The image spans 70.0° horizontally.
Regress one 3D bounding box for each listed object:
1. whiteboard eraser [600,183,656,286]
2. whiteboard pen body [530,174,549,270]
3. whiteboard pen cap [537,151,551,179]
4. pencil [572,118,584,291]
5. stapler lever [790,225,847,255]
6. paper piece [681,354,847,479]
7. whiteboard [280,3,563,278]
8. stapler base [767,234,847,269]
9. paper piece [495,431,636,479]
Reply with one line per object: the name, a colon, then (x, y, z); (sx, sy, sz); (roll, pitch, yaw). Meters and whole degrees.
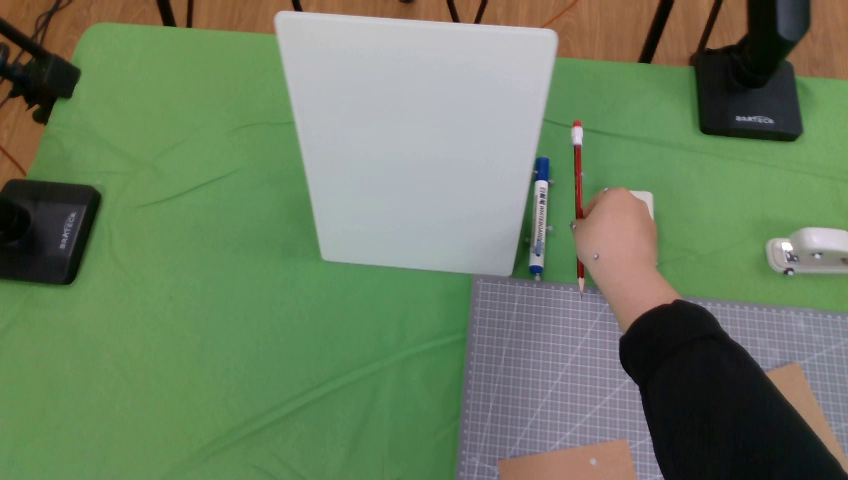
whiteboard eraser: (0.226, -0.006, 0.675); (0.055, 0.042, 0.112); (5, 70, 4)
whiteboard pen body: (0.135, -0.033, 0.699); (0.017, 0.017, 0.140); (7, 68, 3)
whiteboard pen cap: (0.143, -0.087, 0.717); (0.018, 0.018, 0.033); (5, 68, 3)
pencil: (0.164, -0.040, 0.638); (0.012, 0.012, 0.193); (3, 74, 2)
stapler lever: (0.457, 0.001, 0.655); (0.118, 0.040, 0.026); (1, 71, 0)
paper piece: (0.348, 0.201, 0.611); (0.136, 0.009, 0.137); (-17, 72, -1)
whiteboard: (0.002, -0.118, 0.610); (0.217, 0.308, 0.142); (6, 50, 3)
stapler base: (0.455, 0.010, 0.677); (0.130, 0.024, 0.041); (1, 72, -1)
paper piece: (0.147, 0.265, 0.588); (0.135, 0.004, 0.134); (-8, 70, -3)
